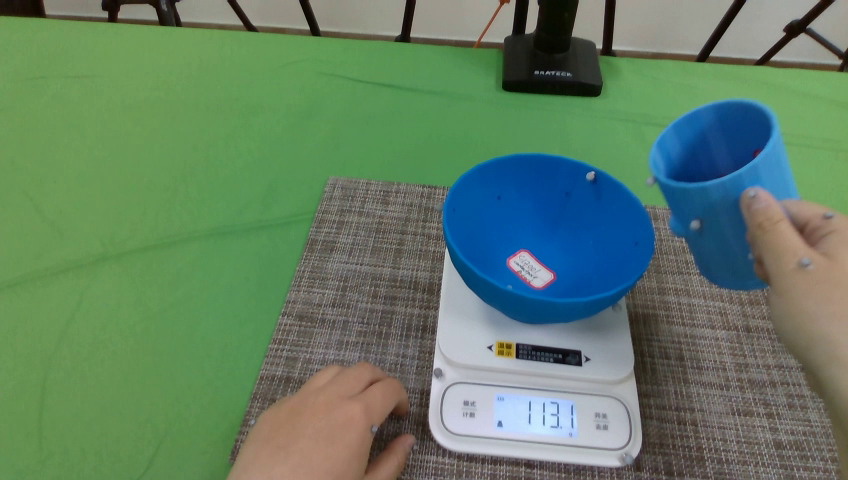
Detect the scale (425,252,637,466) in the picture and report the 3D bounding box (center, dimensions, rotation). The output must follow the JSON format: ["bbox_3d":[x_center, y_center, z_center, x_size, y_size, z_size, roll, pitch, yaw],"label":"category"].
[{"bbox_3d":[0.082,0.071,0.474,0.148,0.032,0.199,5,47,3],"label":"scale"}]

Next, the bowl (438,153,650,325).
[{"bbox_3d":[0.083,0.012,0.456,0.151,0.077,0.150,2,47,-1],"label":"bowl"}]

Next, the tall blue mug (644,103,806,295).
[{"bbox_3d":[0.212,-0.022,0.399,0.077,0.109,0.106,-47,34,-9],"label":"tall blue mug"}]
